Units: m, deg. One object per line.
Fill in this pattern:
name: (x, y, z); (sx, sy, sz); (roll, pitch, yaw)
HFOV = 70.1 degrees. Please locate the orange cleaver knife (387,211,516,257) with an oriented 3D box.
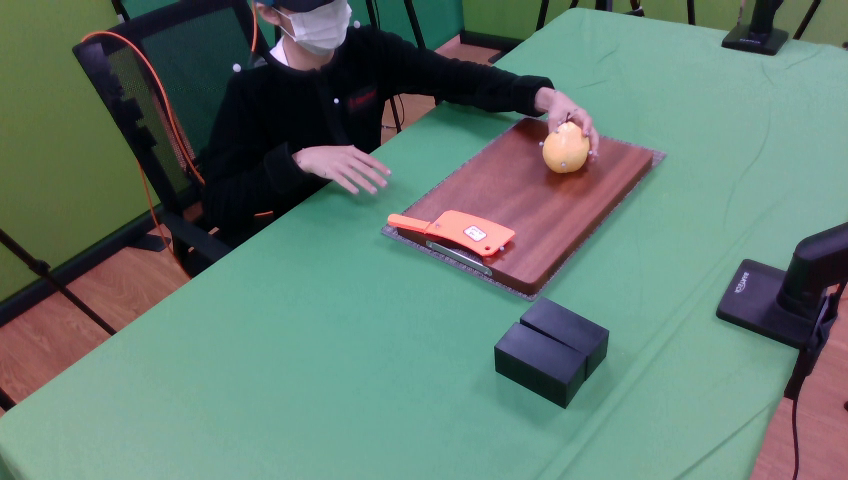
orange cleaver knife: (0.040, -0.020, 0.953); (0.210, 0.012, 0.077); (16, 48, 29)

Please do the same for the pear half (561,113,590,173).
pear half: (0.252, -0.170, 1.025); (0.056, 0.110, 0.076); (-17, 47, -10)

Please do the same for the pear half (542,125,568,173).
pear half: (0.219, -0.154, 1.027); (0.031, 0.088, 0.070); (-17, 46, -11)
